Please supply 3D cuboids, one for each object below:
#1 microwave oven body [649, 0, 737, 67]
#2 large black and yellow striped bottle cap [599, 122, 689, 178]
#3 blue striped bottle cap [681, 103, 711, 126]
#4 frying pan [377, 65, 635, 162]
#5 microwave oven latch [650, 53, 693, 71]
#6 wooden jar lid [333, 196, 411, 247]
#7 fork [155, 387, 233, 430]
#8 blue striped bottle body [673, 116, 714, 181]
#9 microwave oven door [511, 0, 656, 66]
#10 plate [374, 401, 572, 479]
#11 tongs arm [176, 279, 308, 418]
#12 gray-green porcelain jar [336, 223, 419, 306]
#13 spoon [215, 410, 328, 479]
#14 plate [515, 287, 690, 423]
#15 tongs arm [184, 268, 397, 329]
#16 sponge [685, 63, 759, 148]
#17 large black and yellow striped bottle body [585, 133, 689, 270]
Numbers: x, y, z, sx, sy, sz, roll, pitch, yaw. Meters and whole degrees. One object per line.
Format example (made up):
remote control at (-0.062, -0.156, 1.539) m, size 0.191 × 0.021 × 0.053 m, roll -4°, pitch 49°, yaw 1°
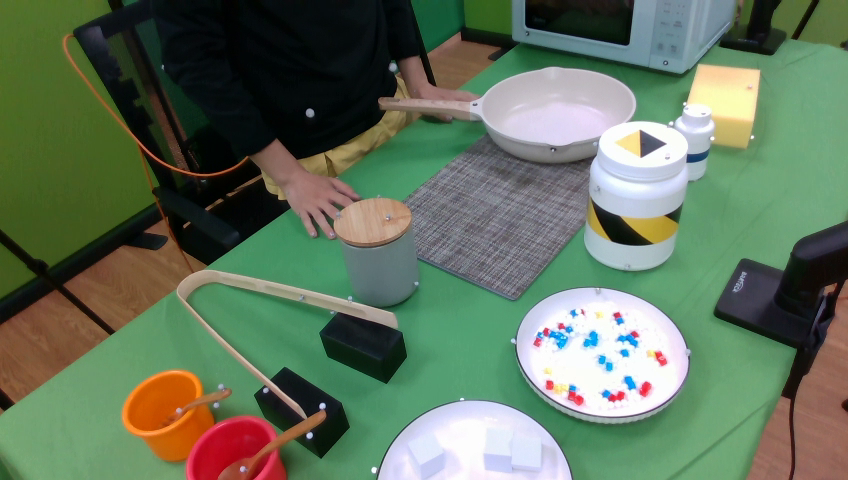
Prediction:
microwave oven body at (0.475, -0.602, 1.411) m, size 0.438 × 0.261 × 0.327 m, roll 23°, pitch 50°, yaw 32°
large black and yellow striped bottle cap at (0.296, -0.123, 0.818) m, size 0.115 × 0.019 × 0.114 m, roll -5°, pitch 40°, yaw 5°
blue striped bottle cap at (0.446, -0.205, 0.990) m, size 0.044 × 0.021 × 0.044 m, roll -5°, pitch 43°, yaw 5°
frying pan at (0.150, -0.254, 1.176) m, size 0.488 × 0.103 × 0.306 m, roll 6°, pitch 41°, yaw 3°
microwave oven latch at (0.531, -0.386, 1.301) m, size 0.078 × 0.029 × 0.030 m, roll 26°, pitch 51°, yaw 33°
wooden jar lid at (-0.071, -0.023, 0.830) m, size 0.108 × 0.021 × 0.108 m, roll -4°, pitch 36°, yaw 3°
fork at (-0.264, 0.191, 0.688) m, size 0.206 × 0.018 × 0.028 m, roll -33°, pitch 8°, yaw 44°
blue striped bottle body at (0.451, -0.166, 1.023) m, size 0.063 × 0.121 × 0.063 m, roll -5°, pitch 41°, yaw 4°
microwave oven door at (0.350, -0.539, 1.349) m, size 0.353 × 0.245 × 0.039 m, roll 24°, pitch 50°, yaw 31°
plate at (0.051, 0.268, 0.639) m, size 0.207 × 0.039 × 0.206 m, roll -3°, pitch 40°, yaw 3°
tongs arm at (-0.255, 0.133, 0.801) m, size 0.028 × 0.028 × 0.384 m, roll -41°, pitch 40°, yaw -23°
gray-green porcelain jar at (-0.064, 0.024, 0.872) m, size 0.106 × 0.127 × 0.105 m, roll -4°, pitch 41°, yaw 4°
spoon at (-0.165, 0.224, 0.639) m, size 0.193 × 0.022 × 0.041 m, roll -40°, pitch 32°, yaw 30°
plate at (0.220, 0.144, 0.760) m, size 0.209 × 0.038 × 0.208 m, roll -4°, pitch 40°, yaw 4°
tongs arm at (-0.202, 0.084, 0.848) m, size 0.382 × 0.027 × 0.051 m, roll 11°, pitch 45°, yaw 35°
sponge at (0.569, -0.263, 1.164) m, size 0.117 × 0.061 × 0.207 m, roll 12°, pitch 45°, yaw 22°
large black and yellow striped bottle body at (0.305, -0.061, 0.874) m, size 0.131 × 0.185 × 0.130 m, roll -4°, pitch 41°, yaw 4°
